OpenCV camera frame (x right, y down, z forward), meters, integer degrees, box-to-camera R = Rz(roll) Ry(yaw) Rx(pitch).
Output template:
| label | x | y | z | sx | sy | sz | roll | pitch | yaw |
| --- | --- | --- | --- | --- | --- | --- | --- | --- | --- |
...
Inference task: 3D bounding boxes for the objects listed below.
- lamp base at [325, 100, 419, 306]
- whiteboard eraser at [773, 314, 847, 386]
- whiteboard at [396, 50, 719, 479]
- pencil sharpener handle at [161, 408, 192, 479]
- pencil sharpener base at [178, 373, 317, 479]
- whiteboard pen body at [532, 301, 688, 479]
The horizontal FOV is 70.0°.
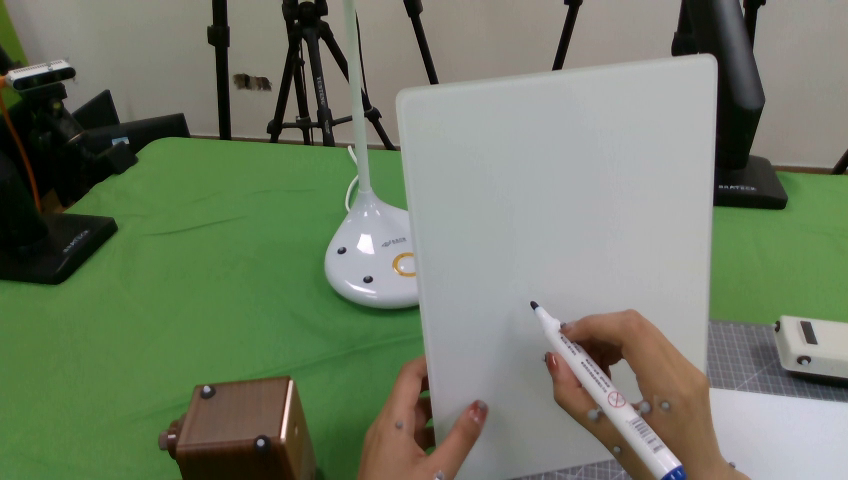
| label | x | y | z | sx | sy | sz | roll | pitch | yaw |
| --- | --- | --- | --- | --- | --- | --- | --- | --- | --- |
| lamp base | -0.043 | -0.049 | 0.649 | 0.161 | 0.182 | 0.177 | -25 | 39 | -27 |
| whiteboard eraser | 0.372 | 0.100 | 0.530 | 0.112 | 0.042 | 0.055 | 7 | 39 | 14 |
| whiteboard | 0.096 | 0.017 | 0.494 | 0.217 | 0.307 | 0.143 | -8 | 17 | -5 |
| pencil sharpener handle | -0.176 | 0.151 | 0.427 | 0.030 | 0.068 | 0.035 | -5 | 24 | -1 |
| pencil sharpener base | -0.125 | 0.155 | 0.439 | 0.077 | 0.108 | 0.061 | -5 | 37 | -1 |
| whiteboard pen body | 0.105 | 0.085 | 0.365 | 0.017 | 0.017 | 0.139 | -18 | 48 | -20 |
